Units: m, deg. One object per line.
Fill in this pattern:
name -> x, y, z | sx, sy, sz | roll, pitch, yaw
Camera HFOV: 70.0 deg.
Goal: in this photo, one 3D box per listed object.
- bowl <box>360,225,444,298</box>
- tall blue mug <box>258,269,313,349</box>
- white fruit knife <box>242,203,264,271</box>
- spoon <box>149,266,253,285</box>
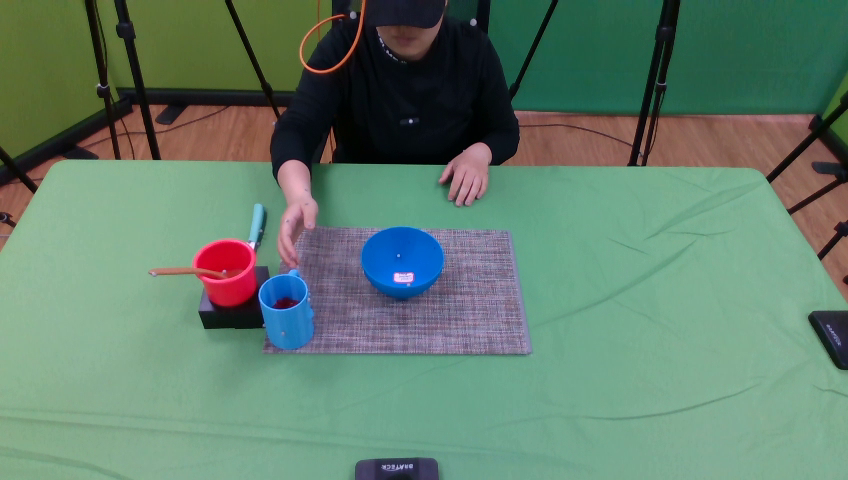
bowl -> -0.040, 0.053, 1.099 | 0.151, 0.077, 0.150 | 2, 46, -2
tall blue mug -> -0.232, 0.108, 1.010 | 0.078, 0.108, 0.106 | -15, 49, -17
white fruit knife -> -0.334, 0.000, 1.178 | 0.027, 0.016, 0.206 | -17, 46, 16
spoon -> -0.351, 0.052, 0.968 | 0.041, 0.021, 0.194 | 42, 13, 28
